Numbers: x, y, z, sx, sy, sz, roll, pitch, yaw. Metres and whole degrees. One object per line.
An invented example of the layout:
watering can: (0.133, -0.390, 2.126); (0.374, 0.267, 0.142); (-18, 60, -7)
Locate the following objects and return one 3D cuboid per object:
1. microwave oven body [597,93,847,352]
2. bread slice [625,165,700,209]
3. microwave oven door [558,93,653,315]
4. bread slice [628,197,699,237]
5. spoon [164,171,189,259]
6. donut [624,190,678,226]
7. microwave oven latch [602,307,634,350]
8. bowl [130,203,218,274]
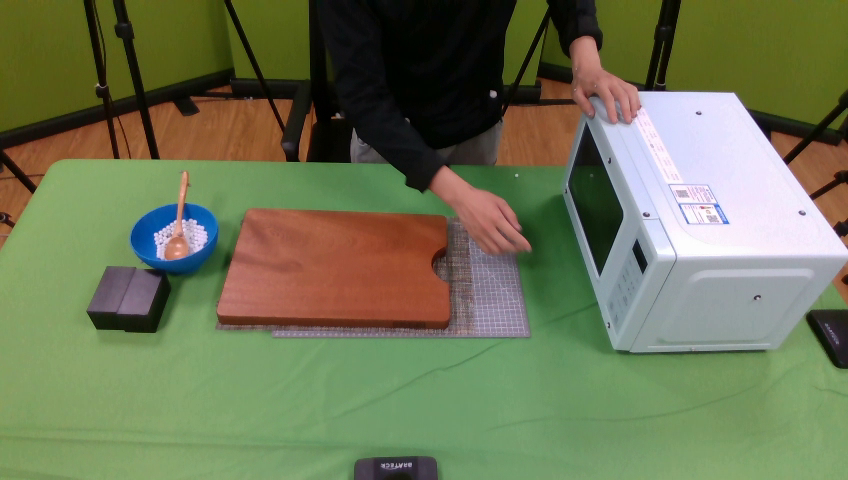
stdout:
microwave oven body: (0.475, -0.042, 1.109); (0.326, 0.261, 0.438); (-1, 45, -4)
bread slice: (0.453, -0.098, 1.143); (0.135, 0.018, 0.106); (4, 42, -20)
microwave oven door: (0.327, -0.074, 1.123); (0.039, 0.245, 0.353); (-1, 46, -5)
bread slice: (0.472, -0.046, 1.196); (0.131, 0.019, 0.104); (7, 41, 11)
spoon: (-0.452, -0.046, 1.129); (0.041, 0.022, 0.193); (-1, 69, -2)
donut: (0.439, -0.062, 1.173); (0.099, 0.048, 0.098); (-6, 29, 4)
microwave oven latch: (0.332, 0.152, 1.044); (0.030, 0.029, 0.078); (-1, 45, -4)
bowl: (-0.450, 0.010, 1.116); (0.151, 0.077, 0.150); (3, 45, -2)
